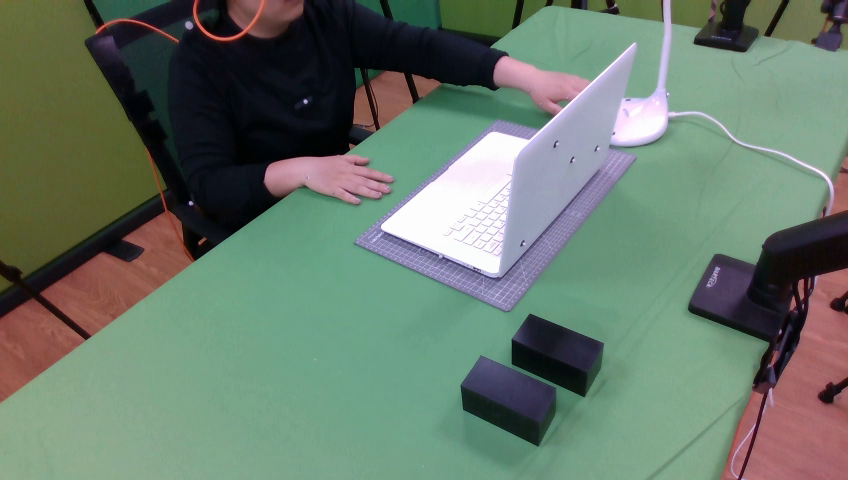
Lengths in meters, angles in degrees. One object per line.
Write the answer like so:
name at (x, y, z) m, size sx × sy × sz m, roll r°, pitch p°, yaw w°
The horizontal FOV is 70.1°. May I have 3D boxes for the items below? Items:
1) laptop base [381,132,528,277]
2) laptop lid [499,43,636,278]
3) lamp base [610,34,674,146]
laptop base at (0.122, -0.077, 1.043) m, size 0.233 × 0.023 × 0.355 m, roll 20°, pitch 47°, yaw 33°
laptop lid at (0.217, -0.122, 0.898) m, size 0.013 × 0.242 × 0.358 m, roll 28°, pitch 50°, yaw 25°
lamp base at (0.393, -0.291, 1.129) m, size 0.180 × 0.181 × 0.159 m, roll -11°, pitch 41°, yaw -8°
